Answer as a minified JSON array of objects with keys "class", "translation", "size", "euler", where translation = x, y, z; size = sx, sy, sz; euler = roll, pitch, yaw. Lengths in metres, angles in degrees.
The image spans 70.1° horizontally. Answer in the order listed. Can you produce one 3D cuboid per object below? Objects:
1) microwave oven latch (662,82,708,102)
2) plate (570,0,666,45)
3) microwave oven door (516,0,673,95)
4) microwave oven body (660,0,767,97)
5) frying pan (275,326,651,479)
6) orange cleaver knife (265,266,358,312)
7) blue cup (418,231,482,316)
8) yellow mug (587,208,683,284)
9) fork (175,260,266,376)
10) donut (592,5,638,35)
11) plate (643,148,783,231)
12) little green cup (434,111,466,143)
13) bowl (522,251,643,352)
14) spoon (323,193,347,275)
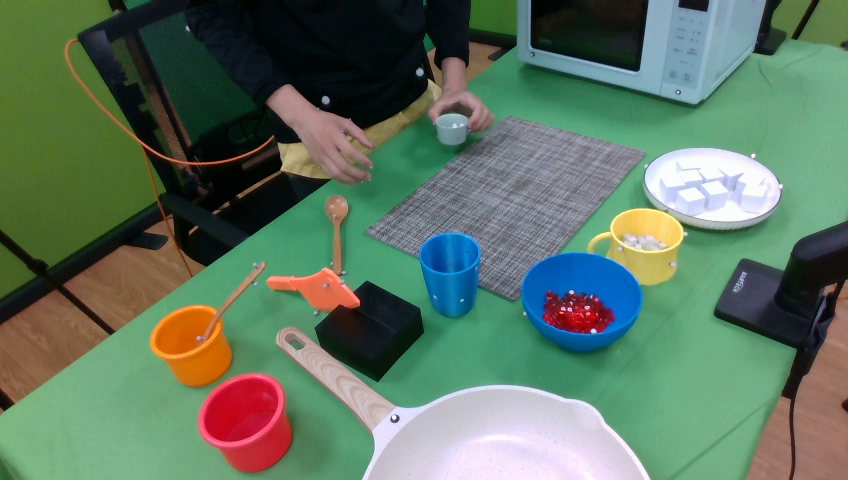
[{"class":"microwave oven latch","translation":[0.517,-0.298,1.202],"size":[0.078,0.029,0.030],"euler":[28,52,35]},{"class":"plate","translation":[0.436,-0.489,1.368],"size":[0.209,0.038,0.208],"euler":[-5,40,5]},{"class":"microwave oven door","translation":[0.344,-0.458,1.256],"size":[0.353,0.245,0.039],"euler":[26,51,33]},{"class":"microwave oven body","translation":[0.473,-0.516,1.314],"size":[0.438,0.261,0.327],"euler":[26,51,34]},{"class":"frying pan","translation":[0.004,0.229,0.641],"size":[0.484,0.103,0.308],"euler":[34,54,28]},{"class":"orange cleaver knife","translation":[-0.164,0.073,0.864],"size":[0.210,0.077,0.012],"euler":[-6,31,50]},{"class":"blue cup","translation":[0.040,0.053,0.843],"size":[0.092,0.100,0.092],"euler":[-4,43,4]},{"class":"yellow mug","translation":[0.305,0.009,0.884],"size":[0.131,0.064,0.099],"euler":[-4,41,5]},{"class":"fork","translation":[-0.268,0.102,0.792],"size":[0.207,0.019,0.028],"euler":[-51,41,16]},{"class":"donut","translation":[0.428,-0.492,1.352],"size":[0.099,0.048,0.098],"euler":[-6,42,6]},{"class":"plate","translation":[0.464,-0.080,0.986],"size":[0.207,0.039,0.206],"euler":[-4,41,4]},{"class":"little green cup","translation":[0.050,-0.213,1.143],"size":[0.061,0.039,0.061],"euler":[-6,38,5]},{"class":"bowl","translation":[0.204,0.093,0.792],"size":[0.151,0.077,0.150],"euler":[-4,40,4]},{"class":"spoon","translation":[-0.148,-0.014,1.008],"size":[0.042,0.022,0.192],"euler":[0,40,-8]}]
